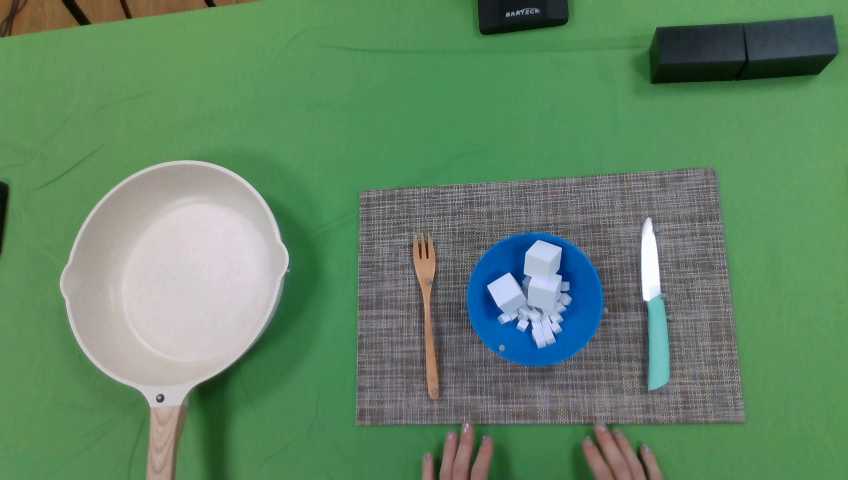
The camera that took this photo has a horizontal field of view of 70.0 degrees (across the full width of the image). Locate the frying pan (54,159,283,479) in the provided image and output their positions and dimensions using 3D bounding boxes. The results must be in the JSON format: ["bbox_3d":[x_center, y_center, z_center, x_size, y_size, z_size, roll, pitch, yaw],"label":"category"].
[{"bbox_3d":[-0.315,0.139,0.747,0.306,0.103,0.484,-5,68,8],"label":"frying pan"}]

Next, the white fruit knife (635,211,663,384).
[{"bbox_3d":[0.264,0.064,0.716,0.027,0.016,0.206,2,77,-2],"label":"white fruit knife"}]

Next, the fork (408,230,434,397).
[{"bbox_3d":[-0.001,0.088,0.750,0.028,0.019,0.206,-4,75,-1],"label":"fork"}]

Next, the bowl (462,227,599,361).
[{"bbox_3d":[0.122,0.067,0.705,0.151,0.077,0.150,-2,77,8],"label":"bowl"}]
